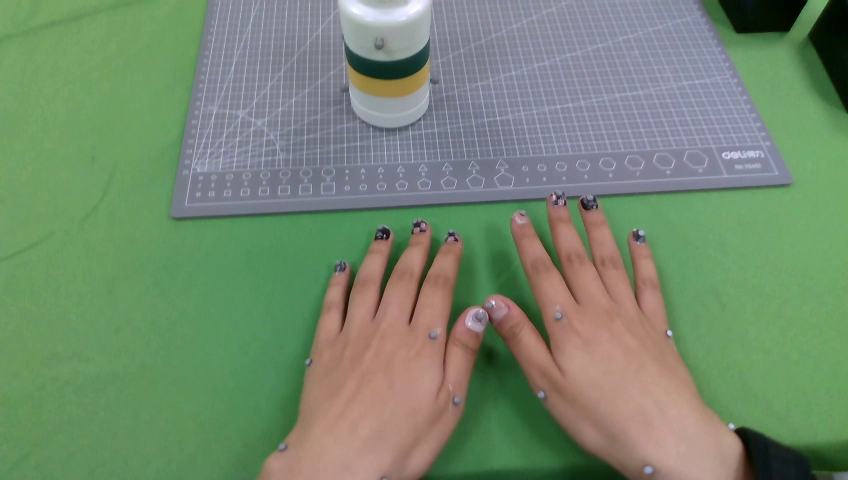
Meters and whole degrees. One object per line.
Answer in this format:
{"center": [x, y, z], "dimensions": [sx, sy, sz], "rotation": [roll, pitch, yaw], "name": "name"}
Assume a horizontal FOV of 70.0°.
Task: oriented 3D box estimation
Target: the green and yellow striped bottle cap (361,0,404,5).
{"center": [-0.026, -0.171, 0.387], "dimensions": [0.045, 0.020, 0.045], "rotation": [1, 55, 0], "name": "green and yellow striped bottle cap"}

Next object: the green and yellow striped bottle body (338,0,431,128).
{"center": [-0.027, -0.143, 0.432], "dimensions": [0.063, 0.120, 0.062], "rotation": [1, 57, 0], "name": "green and yellow striped bottle body"}
